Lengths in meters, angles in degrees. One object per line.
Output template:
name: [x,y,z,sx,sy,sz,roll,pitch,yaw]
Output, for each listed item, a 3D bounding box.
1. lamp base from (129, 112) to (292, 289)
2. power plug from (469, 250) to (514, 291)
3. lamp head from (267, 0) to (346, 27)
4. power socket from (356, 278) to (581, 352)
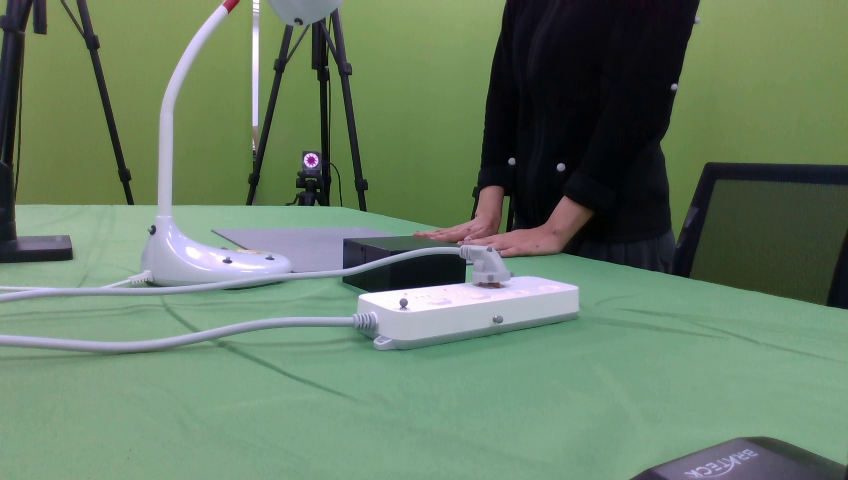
lamp base: [-0.232,-0.045,0.658,0.160,0.180,0.180,7,11,29]
power plug: [0.052,0.037,0.530,0.035,0.052,0.073,-10,5,38]
lamp head: [-0.157,-0.326,0.702,0.112,0.112,0.123,6,-16,26]
power socket: [0.045,0.059,0.523,0.228,0.032,0.072,-3,8,-36]
